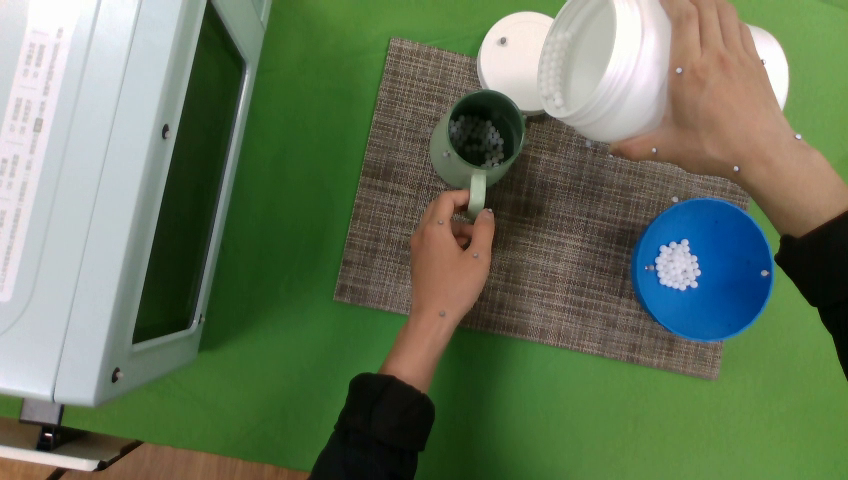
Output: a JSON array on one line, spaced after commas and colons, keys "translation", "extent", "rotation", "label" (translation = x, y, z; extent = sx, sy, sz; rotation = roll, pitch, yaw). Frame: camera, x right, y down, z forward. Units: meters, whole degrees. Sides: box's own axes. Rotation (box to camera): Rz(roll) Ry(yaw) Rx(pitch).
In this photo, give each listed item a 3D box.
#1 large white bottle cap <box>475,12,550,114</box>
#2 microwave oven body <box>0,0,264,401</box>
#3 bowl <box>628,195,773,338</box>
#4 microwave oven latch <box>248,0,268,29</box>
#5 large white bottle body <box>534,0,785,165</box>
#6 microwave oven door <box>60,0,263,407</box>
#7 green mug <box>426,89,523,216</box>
[{"translation": [0.115, -0.200, 0.685], "extent": [0.115, 0.018, 0.114], "rotation": [1, 84, -6], "label": "large white bottle cap"}, {"translation": [-0.345, -0.126, 0.516], "extent": [0.327, 0.260, 0.441], "rotation": [11, 87, -6], "label": "microwave oven body"}, {"translation": [0.287, 0.030, 0.663], "extent": [0.151, 0.077, 0.151], "rotation": [0, 87, -5], "label": "bowl"}, {"translation": [-0.176, -0.266, 0.635], "extent": [0.030, 0.029, 0.079], "rotation": [12, 87, -5], "label": "microwave oven latch"}, {"translation": [0.203, -0.145, 0.537], "extent": [0.186, 0.130, 0.130], "rotation": [8, 86, -23], "label": "large white bottle body"}, {"translation": [-0.209, -0.057, 0.522], "extent": [0.039, 0.243, 0.355], "rotation": [10, 86, -4], "label": "microwave oven door"}, {"translation": [0.051, -0.088, 0.632], "extent": [0.093, 0.105, 0.125], "rotation": [3, 88, -6], "label": "green mug"}]
